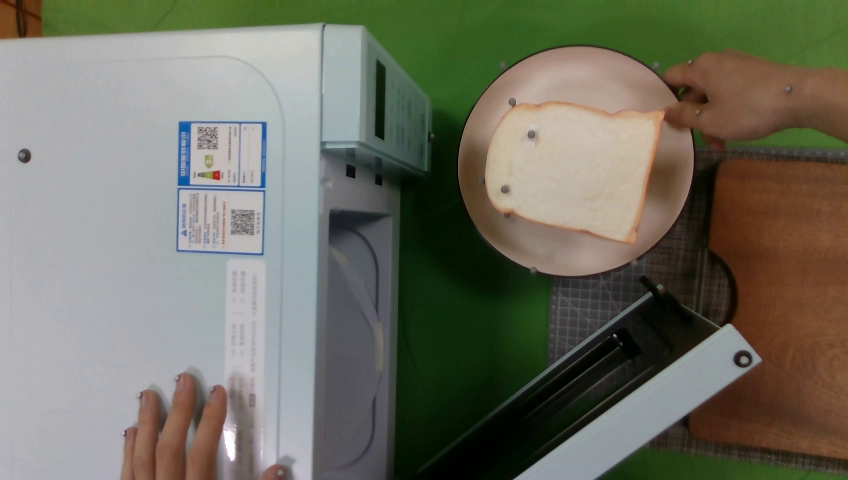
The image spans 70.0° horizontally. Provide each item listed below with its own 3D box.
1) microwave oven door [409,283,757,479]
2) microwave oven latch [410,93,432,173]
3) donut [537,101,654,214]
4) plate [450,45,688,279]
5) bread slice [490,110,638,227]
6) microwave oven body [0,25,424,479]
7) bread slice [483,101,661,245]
[{"bbox_3d":[0.084,0.171,0.506,0.356,0.244,0.039,-41,83,10],"label":"microwave oven door"},{"bbox_3d":[-0.008,-0.109,0.618,0.030,0.029,0.079,-2,92,11],"label":"microwave oven latch"},{"bbox_3d":[0.147,-0.071,0.525,0.099,0.048,0.099,1,96,7],"label":"donut"},{"bbox_3d":[0.129,-0.068,0.556,0.207,0.039,0.208,1,99,11],"label":"plate"},{"bbox_3d":[0.128,-0.068,0.569,0.131,0.019,0.105,6,105,0],"label":"bread slice"},{"bbox_3d":[-0.179,0.065,0.561,0.325,0.260,0.441,1,93,11],"label":"microwave oven body"},{"bbox_3d":[0.116,-0.058,0.500,0.134,0.018,0.107,9,102,17],"label":"bread slice"}]
